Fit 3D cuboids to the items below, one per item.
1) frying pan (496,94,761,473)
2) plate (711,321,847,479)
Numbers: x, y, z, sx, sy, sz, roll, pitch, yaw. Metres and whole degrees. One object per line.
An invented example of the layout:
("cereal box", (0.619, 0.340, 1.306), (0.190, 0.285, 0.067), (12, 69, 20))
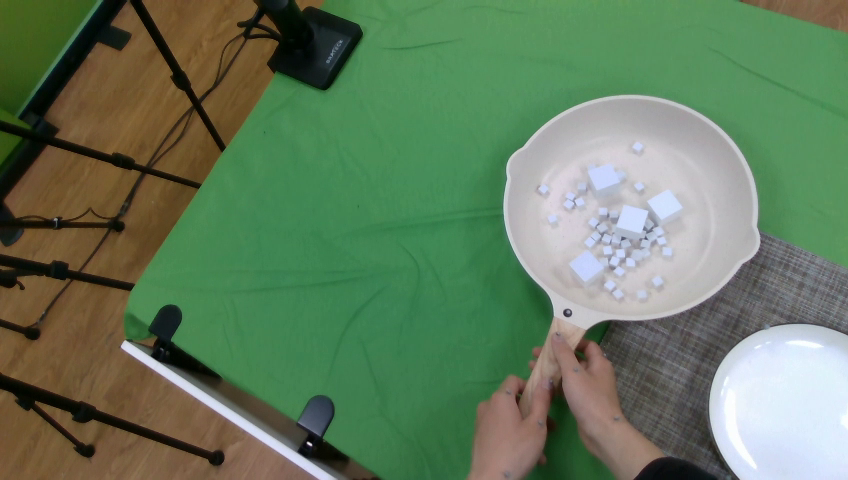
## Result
("frying pan", (0.199, 0.045, 0.722), (0.305, 0.103, 0.486), (24, 70, 21))
("plate", (0.422, 0.192, 0.660), (0.207, 0.039, 0.206), (-4, 71, 11))
